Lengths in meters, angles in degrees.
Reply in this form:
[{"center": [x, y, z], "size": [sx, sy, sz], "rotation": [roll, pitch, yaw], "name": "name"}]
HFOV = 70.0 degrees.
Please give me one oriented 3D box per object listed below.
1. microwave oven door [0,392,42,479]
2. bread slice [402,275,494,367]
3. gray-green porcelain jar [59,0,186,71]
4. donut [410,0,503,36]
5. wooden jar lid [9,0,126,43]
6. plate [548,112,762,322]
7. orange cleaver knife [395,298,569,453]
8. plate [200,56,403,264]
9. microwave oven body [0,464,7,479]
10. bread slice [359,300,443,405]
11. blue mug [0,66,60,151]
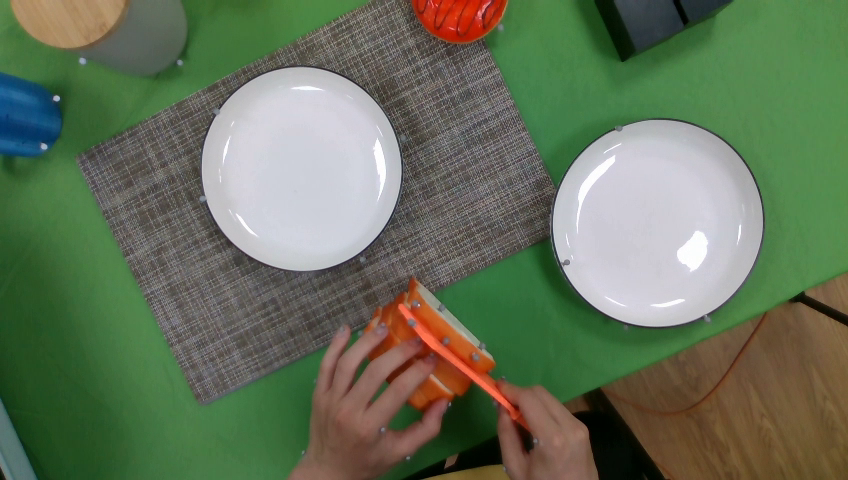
[{"center": [-0.473, 0.205, 0.548], "size": [0.039, 0.243, 0.356], "rotation": [-23, 92, 5], "name": "microwave oven door"}, {"center": [0.023, 0.081, 0.586], "size": [0.107, 0.134, 0.018], "rotation": [41, 89, -7], "name": "bread slice"}, {"center": [-0.301, -0.226, 0.585], "size": [0.106, 0.126, 0.106], "rotation": [0, 93, 3], "name": "gray-green porcelain jar"}, {"center": [0.032, -0.253, 0.602], "size": [0.099, 0.048, 0.099], "rotation": [0, 94, 3], "name": "donut"}, {"center": [-0.304, -0.223, 0.523], "size": [0.108, 0.021, 0.108], "rotation": [0, 92, 5], "name": "wooden jar lid"}, {"center": [0.229, -0.023, 0.614], "size": [0.209, 0.038, 0.209], "rotation": [0, 94, 4], "name": "plate"}, {"center": [0.054, 0.124, 0.553], "size": [0.213, 0.076, 0.012], "rotation": [42, 89, -20], "name": "orange cleaver knife"}, {"center": [-0.124, -0.080, 0.626], "size": [0.207, 0.039, 0.208], "rotation": [0, 94, 3], "name": "plate"}, {"center": [-0.624, 0.222, 0.562], "size": [0.326, 0.260, 0.442], "rotation": [-23, 93, 4], "name": "microwave oven body"}, {"center": [-0.023, 0.110, 0.591], "size": [0.019, 0.131, 0.105], "rotation": [-43, 91, 5], "name": "bread slice"}, {"center": [-0.449, -0.123, 0.609], "size": [0.082, 0.106, 0.116], "rotation": [38, 95, 1], "name": "blue mug"}]
